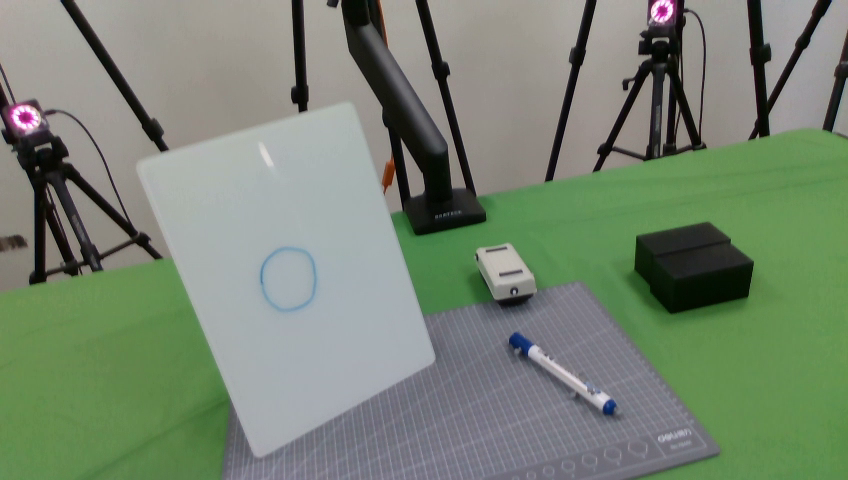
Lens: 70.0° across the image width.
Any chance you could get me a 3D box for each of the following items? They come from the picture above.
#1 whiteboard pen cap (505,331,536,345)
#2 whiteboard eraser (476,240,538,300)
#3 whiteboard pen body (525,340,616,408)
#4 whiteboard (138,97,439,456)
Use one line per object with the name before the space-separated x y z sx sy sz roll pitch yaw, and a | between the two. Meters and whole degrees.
whiteboard pen cap | 0.110 0.111 0.686 0.033 0.018 0.018 -2 30 14
whiteboard eraser | 0.107 0.040 0.797 0.055 0.042 0.111 -12 26 -4
whiteboard pen body | 0.145 0.134 0.641 0.017 0.017 0.139 -23 33 -26
whiteboard | -0.147 0.028 0.666 0.217 0.306 0.143 -23 14 -25
